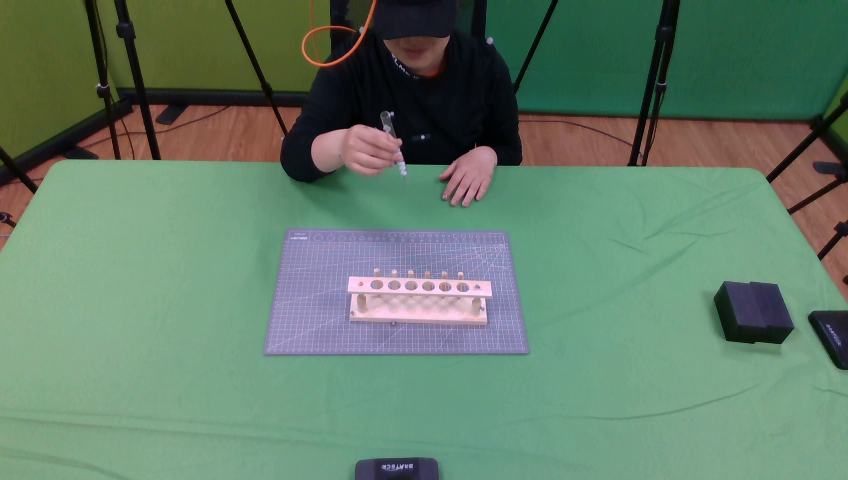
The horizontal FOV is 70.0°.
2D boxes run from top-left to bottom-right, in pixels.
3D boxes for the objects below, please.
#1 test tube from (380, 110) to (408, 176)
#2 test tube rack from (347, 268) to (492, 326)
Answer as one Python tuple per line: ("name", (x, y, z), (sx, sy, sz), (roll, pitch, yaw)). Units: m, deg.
("test tube", (-0.051, -0.164, 1.051), (0.017, 0.151, 0.017), (-7, 53, 9))
("test tube rack", (-0.009, 0.095, 1.059), (0.242, 0.085, 0.066), (2, 46, -2))
